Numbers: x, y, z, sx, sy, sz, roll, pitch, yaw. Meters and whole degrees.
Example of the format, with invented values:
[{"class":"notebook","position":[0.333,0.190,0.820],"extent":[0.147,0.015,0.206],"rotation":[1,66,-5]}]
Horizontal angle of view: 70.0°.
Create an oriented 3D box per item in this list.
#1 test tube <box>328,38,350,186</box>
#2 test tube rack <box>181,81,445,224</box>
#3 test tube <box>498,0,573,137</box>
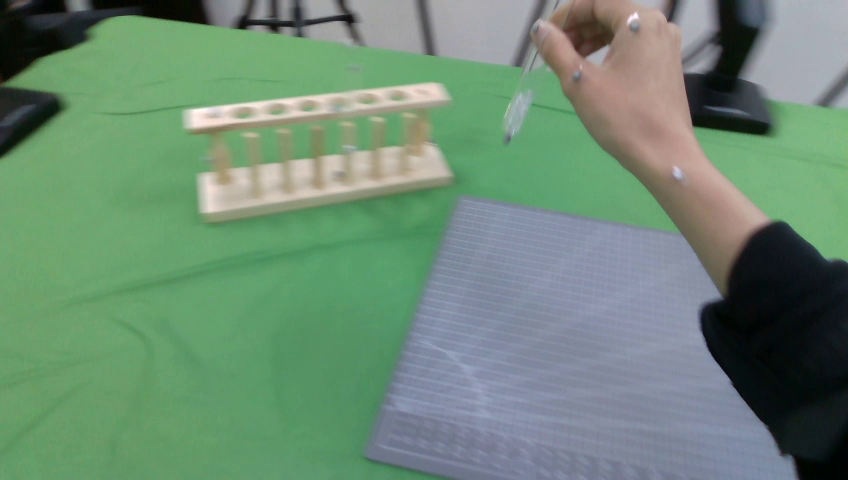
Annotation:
[{"class":"test tube","position":[-0.078,-0.113,0.559],"extent":[0.017,0.152,0.017],"rotation":[3,42,-2]},{"class":"test tube rack","position":[-0.101,-0.089,0.596],"extent":[0.243,0.086,0.066],"rotation":[-11,45,-16]},{"class":"test tube","position":[0.076,-0.126,0.395],"extent":[0.017,0.151,0.017],"rotation":[8,50,-9]}]
